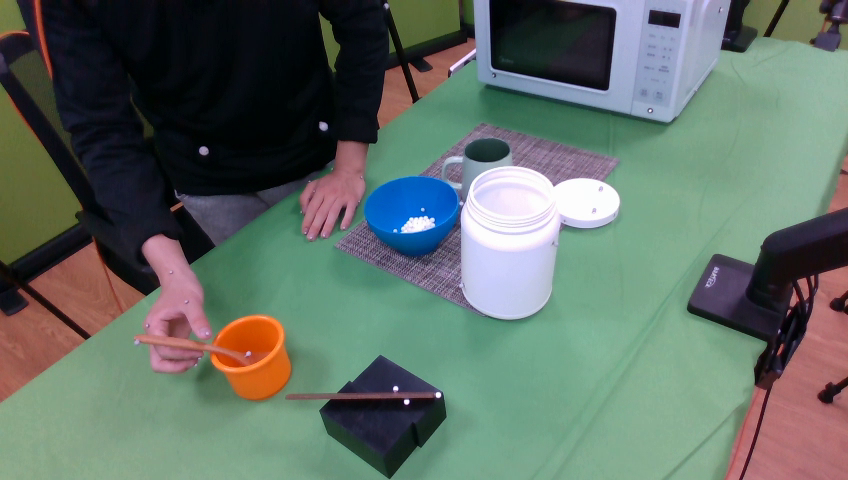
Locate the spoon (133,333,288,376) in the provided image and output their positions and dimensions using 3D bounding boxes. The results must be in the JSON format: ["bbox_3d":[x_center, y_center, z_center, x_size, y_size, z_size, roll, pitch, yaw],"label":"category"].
[{"bbox_3d":[-0.257,0.137,0.747,0.021,0.195,0.041,-46,40,23],"label":"spoon"}]

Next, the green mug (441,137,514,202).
[{"bbox_3d":[0.091,-0.108,1.012,0.125,0.105,0.092,2,42,11],"label":"green mug"}]

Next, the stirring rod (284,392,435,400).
[{"bbox_3d":[-0.075,0.180,0.698,0.176,0.006,0.014,-2,6,7],"label":"stirring rod"}]

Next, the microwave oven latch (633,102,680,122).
[{"bbox_3d":[0.444,-0.249,1.157,0.078,0.029,0.030,22,49,30],"label":"microwave oven latch"}]

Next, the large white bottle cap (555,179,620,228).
[{"bbox_3d":[0.265,-0.062,1.001,0.115,0.018,0.114,-3,41,3],"label":"large white bottle cap"}]

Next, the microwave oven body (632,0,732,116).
[{"bbox_3d":[0.377,-0.462,1.267,0.438,0.261,0.327,21,48,30],"label":"microwave oven body"}]

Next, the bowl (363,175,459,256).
[{"bbox_3d":[-0.016,-0.028,0.955,0.151,0.077,0.150,-4,40,4],"label":"bowl"}]

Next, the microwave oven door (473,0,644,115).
[{"bbox_3d":[0.257,-0.396,1.199,0.353,0.245,0.039,21,48,29],"label":"microwave oven door"}]

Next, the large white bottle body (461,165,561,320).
[{"bbox_3d":[0.115,0.004,0.815,0.130,0.185,0.130,-2,43,2],"label":"large white bottle body"}]
